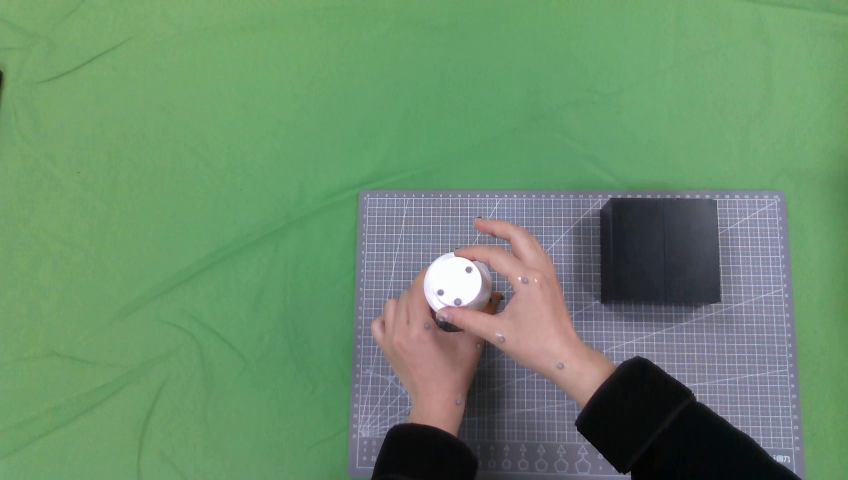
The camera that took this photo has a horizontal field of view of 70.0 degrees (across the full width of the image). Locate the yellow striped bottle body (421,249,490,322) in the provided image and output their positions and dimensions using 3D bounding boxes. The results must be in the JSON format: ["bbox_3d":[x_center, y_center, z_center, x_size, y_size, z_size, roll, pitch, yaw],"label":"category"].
[{"bbox_3d":[0.031,0.045,0.579,0.063,0.121,0.062,-1,80,4],"label":"yellow striped bottle body"}]

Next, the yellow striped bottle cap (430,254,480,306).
[{"bbox_3d":[0.027,0.034,0.525,0.044,0.019,0.044,-1,81,4],"label":"yellow striped bottle cap"}]
